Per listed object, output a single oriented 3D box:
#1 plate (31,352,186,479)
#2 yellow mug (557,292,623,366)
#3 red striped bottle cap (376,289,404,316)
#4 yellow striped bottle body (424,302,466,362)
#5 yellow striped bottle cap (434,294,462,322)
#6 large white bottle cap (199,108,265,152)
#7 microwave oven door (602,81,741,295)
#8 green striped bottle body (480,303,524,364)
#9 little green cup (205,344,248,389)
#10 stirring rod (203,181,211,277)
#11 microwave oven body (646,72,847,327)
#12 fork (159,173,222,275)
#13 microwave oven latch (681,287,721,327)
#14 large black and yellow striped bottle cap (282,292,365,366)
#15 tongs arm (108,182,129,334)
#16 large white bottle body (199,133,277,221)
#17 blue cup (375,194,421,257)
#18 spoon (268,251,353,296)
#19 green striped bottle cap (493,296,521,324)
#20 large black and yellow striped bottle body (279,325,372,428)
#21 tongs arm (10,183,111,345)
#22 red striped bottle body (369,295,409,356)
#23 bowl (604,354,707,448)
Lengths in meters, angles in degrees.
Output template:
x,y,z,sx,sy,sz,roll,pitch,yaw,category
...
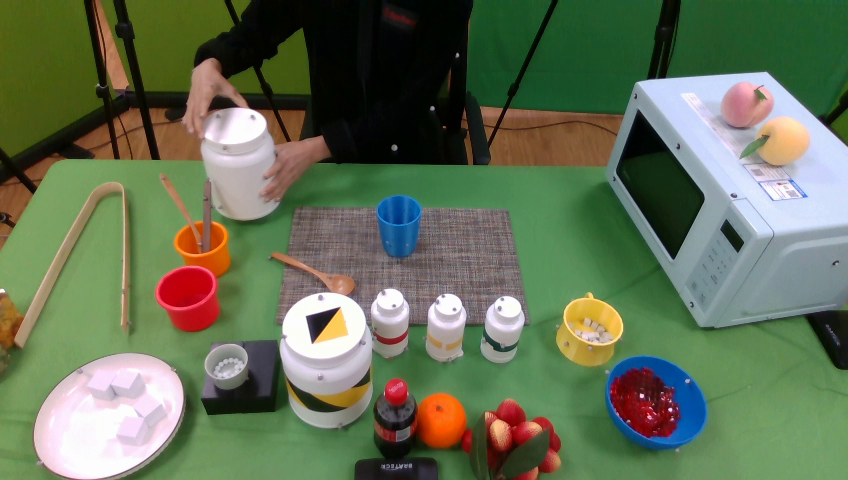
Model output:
x,y,z,sx,sy,sz,roll,pitch,yaw,category
-0.459,0.262,0.898,0.209,0.038,0.208,2,46,-2,plate
0.285,0.145,1.051,0.100,0.064,0.130,7,45,4,yellow mug
-0.054,0.098,0.958,0.044,0.018,0.044,0,48,1,red striped bottle cap
0.035,0.143,0.995,0.063,0.121,0.062,3,46,-3,yellow striped bottle body
0.038,0.107,0.958,0.044,0.019,0.044,2,45,-2,yellow striped bottle cap
-0.350,-0.201,1.106,0.115,0.018,0.114,3,46,-3,large white bottle cap
0.456,-0.107,1.162,0.039,0.245,0.353,-7,47,-11,microwave oven door
0.129,0.147,1.000,0.063,0.120,0.063,2,46,-2,green striped bottle body
-0.294,0.191,0.909,0.061,0.039,0.061,1,47,-1,little green cup
-0.396,-0.021,1.107,0.014,0.006,0.176,-1,89,-1,stirring rod
0.607,-0.089,1.164,0.326,0.261,0.438,-7,46,-10,microwave oven body
-0.427,-0.029,1.103,0.028,0.018,0.207,-31,99,-31,fork
0.494,0.119,1.087,0.030,0.029,0.078,-6,46,-9,microwave oven latch
-0.138,0.121,0.841,0.115,0.019,0.114,3,47,-3,large black and yellow striped bottle cap
-0.571,0.019,1.123,0.051,0.026,0.382,-11,47,-12,tongs arm
-0.357,-0.143,1.167,0.131,0.185,0.130,3,46,-3,large white bottle body
-0.050,-0.022,1.155,0.093,0.101,0.092,1,46,-1,blue cup
-0.212,0.057,1.121,0.193,0.022,0.041,24,74,18,spoon
0.133,0.111,0.962,0.044,0.020,0.044,2,47,-2,green striped bottle cap
-0.143,0.181,0.900,0.131,0.185,0.130,2,46,-2,large black and yellow striped bottle body
-0.658,0.027,1.109,0.028,0.028,0.385,-2,45,2,tongs arm
-0.059,0.134,0.997,0.063,0.120,0.062,5,48,-5,red striped bottle body
0.346,0.261,0.937,0.151,0.077,0.150,2,46,-2,bowl
